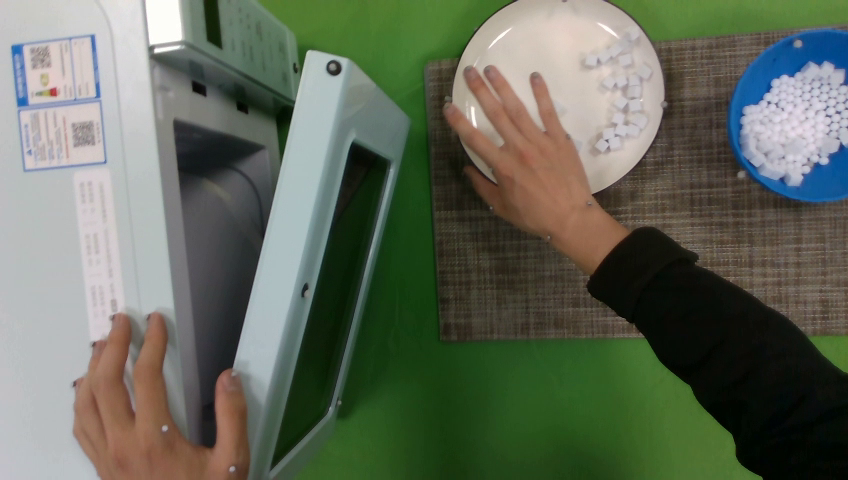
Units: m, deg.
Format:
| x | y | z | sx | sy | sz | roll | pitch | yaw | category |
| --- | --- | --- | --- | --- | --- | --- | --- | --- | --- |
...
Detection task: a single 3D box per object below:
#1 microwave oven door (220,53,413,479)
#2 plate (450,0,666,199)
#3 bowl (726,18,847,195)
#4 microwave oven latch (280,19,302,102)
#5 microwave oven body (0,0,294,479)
| x | y | z | sx | sy | sz | roll | pitch | yaw | category |
| --- | --- | --- | --- | --- | --- | --- | --- | --- | --- |
| -0.088 | 0.040 | 0.535 | 0.039 | 0.244 | 0.356 | 15 | 95 | 8 | microwave oven door |
| 0.132 | -0.144 | 0.610 | 0.209 | 0.038 | 0.209 | 0 | 93 | 8 | plate |
| 0.350 | -0.115 | 0.560 | 0.151 | 0.077 | 0.151 | 0 | 93 | 9 | bowl |
| -0.147 | -0.187 | 0.633 | 0.030 | 0.029 | 0.079 | -4 | 93 | 8 | microwave oven latch |
| -0.292 | 0.005 | 0.567 | 0.325 | 0.260 | 0.442 | -5 | 93 | 8 | microwave oven body |
